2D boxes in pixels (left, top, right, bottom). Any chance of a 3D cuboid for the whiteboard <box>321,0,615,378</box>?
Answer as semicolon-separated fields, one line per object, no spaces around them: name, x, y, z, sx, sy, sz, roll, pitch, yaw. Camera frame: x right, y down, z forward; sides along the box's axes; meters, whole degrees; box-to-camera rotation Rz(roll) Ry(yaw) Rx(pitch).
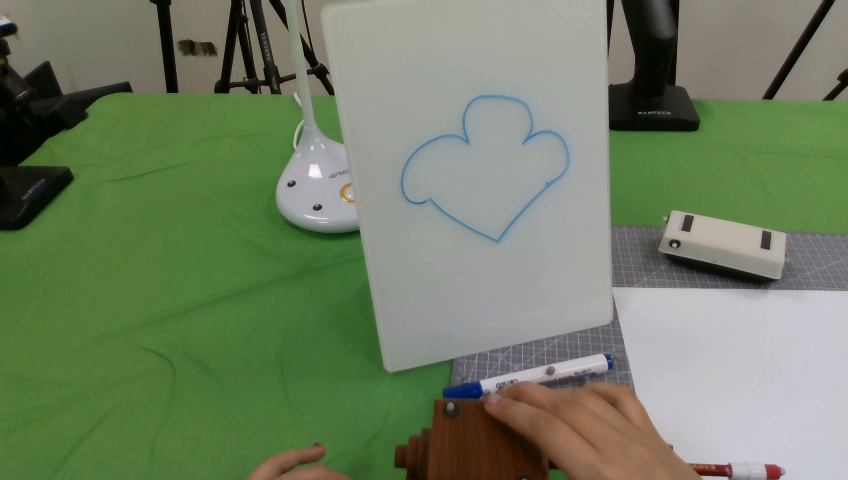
whiteboard;0.039;-0.063;0.554;0.217;0.307;0.142;-11;20;-8

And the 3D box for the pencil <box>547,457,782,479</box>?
pencil;0.116;0.138;0.369;0.194;0.012;0.012;1;39;4

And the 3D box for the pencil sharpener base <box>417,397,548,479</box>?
pencil sharpener base;0.037;0.157;0.395;0.076;0.108;0.061;0;40;5

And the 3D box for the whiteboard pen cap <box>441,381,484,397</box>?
whiteboard pen cap;0.032;0.126;0.495;0.033;0.018;0.018;-12;40;-8

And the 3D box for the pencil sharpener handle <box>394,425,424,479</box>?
pencil sharpener handle;-0.016;0.150;0.377;0.030;0.036;0.067;0;74;5

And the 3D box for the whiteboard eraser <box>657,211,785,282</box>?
whiteboard eraser;0.297;0.007;0.609;0.112;0.042;0.055;15;44;21

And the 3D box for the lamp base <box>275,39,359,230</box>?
lamp base;-0.112;-0.128;0.697;0.161;0.182;0.177;-30;44;-29

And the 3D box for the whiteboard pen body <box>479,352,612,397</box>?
whiteboard pen body;0.089;0.115;0.504;0.141;0.017;0.017;-11;40;-8
